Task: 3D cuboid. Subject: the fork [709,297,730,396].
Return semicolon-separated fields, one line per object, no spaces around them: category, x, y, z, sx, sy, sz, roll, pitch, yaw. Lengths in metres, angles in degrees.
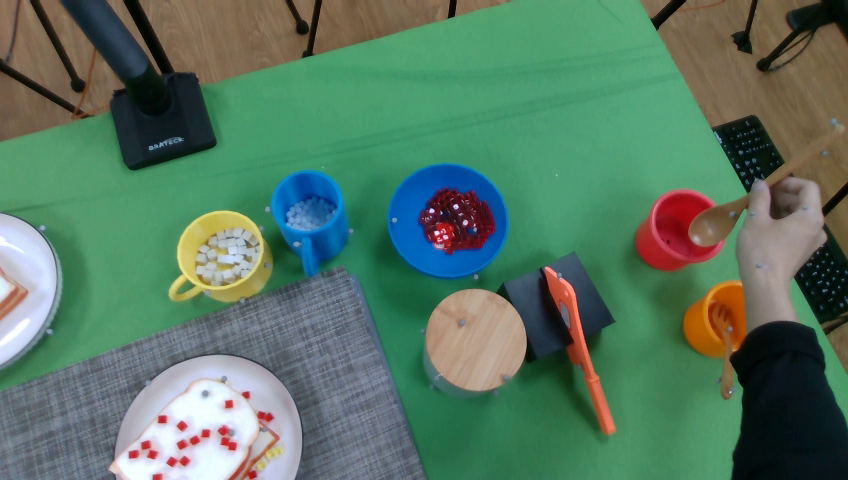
fork;0.350;0.120;0.712;0.028;0.019;0.207;42;30;4

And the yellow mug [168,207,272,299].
yellow mug;-0.256;0.027;0.744;0.131;0.064;0.099;-41;78;-13

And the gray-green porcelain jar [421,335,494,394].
gray-green porcelain jar;0.050;0.123;0.703;0.106;0.127;0.105;1;72;-4

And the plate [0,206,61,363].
plate;-0.541;0.059;0.728;0.208;0.039;0.206;1;72;-4

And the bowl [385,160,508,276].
bowl;0.026;-0.018;0.772;0.151;0.077;0.150;1;72;-4

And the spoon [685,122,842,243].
spoon;0.367;-0.059;0.665;0.022;0.194;0.041;-12;64;-38

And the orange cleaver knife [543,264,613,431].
orange cleaver knife;0.184;0.129;0.733;0.012;0.077;0.212;-21;101;-10

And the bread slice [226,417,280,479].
bread slice;-0.245;0.242;0.690;0.104;0.019;0.131;34;70;9

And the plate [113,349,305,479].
plate;-0.239;0.230;0.690;0.209;0.038;0.208;1;72;-4

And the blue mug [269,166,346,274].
blue mug;-0.141;-0.016;0.746;0.082;0.106;0.116;0;72;-3

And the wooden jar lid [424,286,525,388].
wooden jar lid;0.053;0.103;0.643;0.108;0.021;0.108;2;74;-6

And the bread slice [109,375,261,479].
bread slice;-0.240;0.211;0.635;0.107;0.018;0.134;34;67;1
